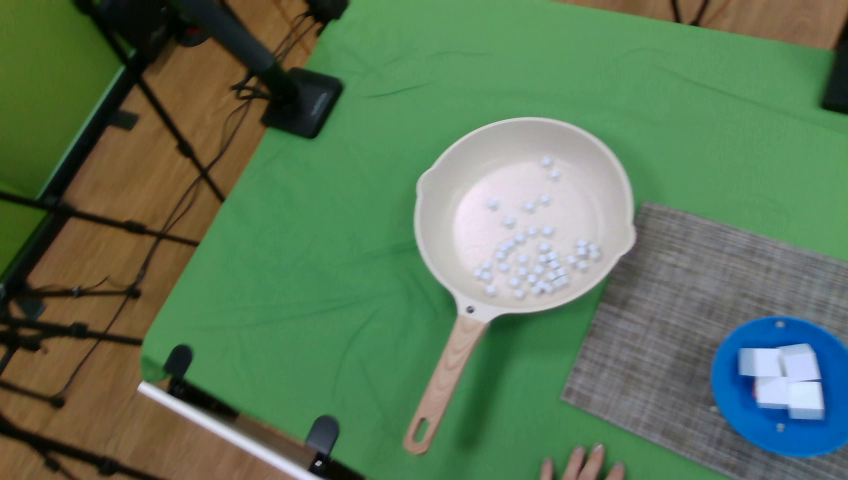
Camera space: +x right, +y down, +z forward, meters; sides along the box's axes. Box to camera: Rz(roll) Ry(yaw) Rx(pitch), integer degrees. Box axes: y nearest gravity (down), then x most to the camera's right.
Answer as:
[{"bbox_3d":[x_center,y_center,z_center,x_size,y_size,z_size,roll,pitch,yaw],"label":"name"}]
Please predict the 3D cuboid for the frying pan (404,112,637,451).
[{"bbox_3d":[0.091,0.047,0.801,0.305,0.104,0.486,20,66,23],"label":"frying pan"}]

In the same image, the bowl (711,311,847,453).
[{"bbox_3d":[0.396,0.162,0.676,0.151,0.077,0.150,-6,67,14],"label":"bowl"}]
